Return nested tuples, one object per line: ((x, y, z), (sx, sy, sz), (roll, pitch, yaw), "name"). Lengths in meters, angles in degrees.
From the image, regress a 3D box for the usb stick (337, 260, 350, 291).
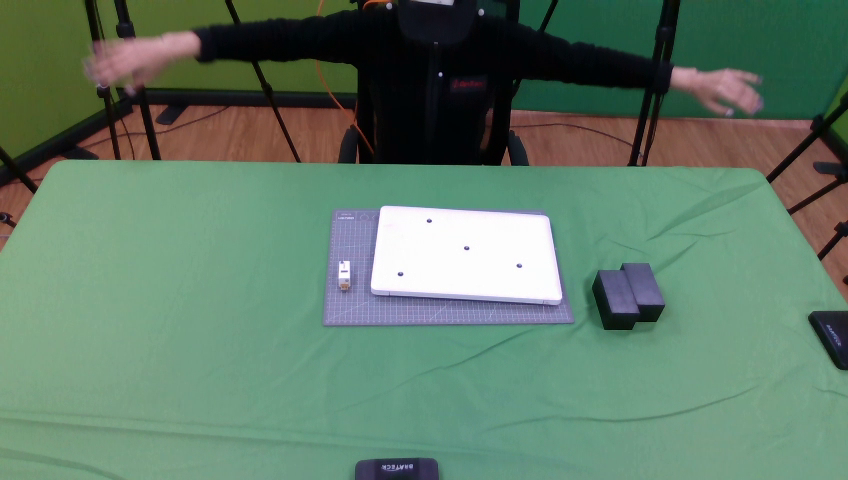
((-0.148, 0.067, 1.115), (0.021, 0.027, 0.059), (0, 49, -5), "usb stick")

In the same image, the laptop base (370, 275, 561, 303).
((0.080, 0.028, 1.180), (0.354, 0.023, 0.234), (3, 43, -1), "laptop base")

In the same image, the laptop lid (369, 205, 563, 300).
((0.081, 0.018, 1.173), (0.357, 0.013, 0.240), (5, 44, 0), "laptop lid")
